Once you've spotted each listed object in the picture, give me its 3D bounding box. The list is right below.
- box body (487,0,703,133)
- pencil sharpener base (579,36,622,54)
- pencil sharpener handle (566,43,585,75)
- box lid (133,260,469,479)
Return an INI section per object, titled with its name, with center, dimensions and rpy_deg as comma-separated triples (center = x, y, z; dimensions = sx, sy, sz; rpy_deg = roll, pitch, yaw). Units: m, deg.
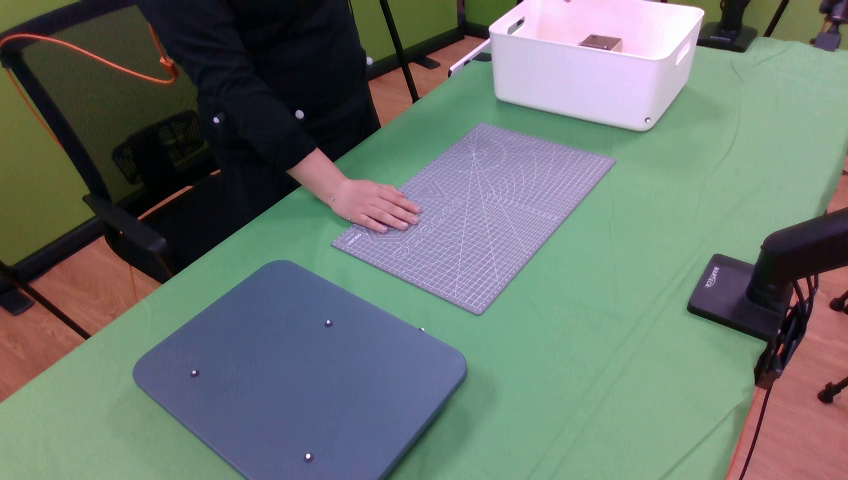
[box body]
center = 0.346, -0.374, 1.251
dimensions = 0.361, 0.161, 0.255
rpy_deg = 20, 48, 29
[pencil sharpener base]
center = 0.364, -0.363, 1.267
dimensions = 0.076, 0.107, 0.061
rpy_deg = 20, 48, 30
[pencil sharpener handle]
center = 0.319, -0.385, 1.283
dimensions = 0.030, 0.068, 0.036
rpy_deg = 20, 40, 31
[box lid]
center = -0.156, 0.161, 0.747
dimensions = 0.368, 0.015, 0.264
rpy_deg = 23, 49, 31
